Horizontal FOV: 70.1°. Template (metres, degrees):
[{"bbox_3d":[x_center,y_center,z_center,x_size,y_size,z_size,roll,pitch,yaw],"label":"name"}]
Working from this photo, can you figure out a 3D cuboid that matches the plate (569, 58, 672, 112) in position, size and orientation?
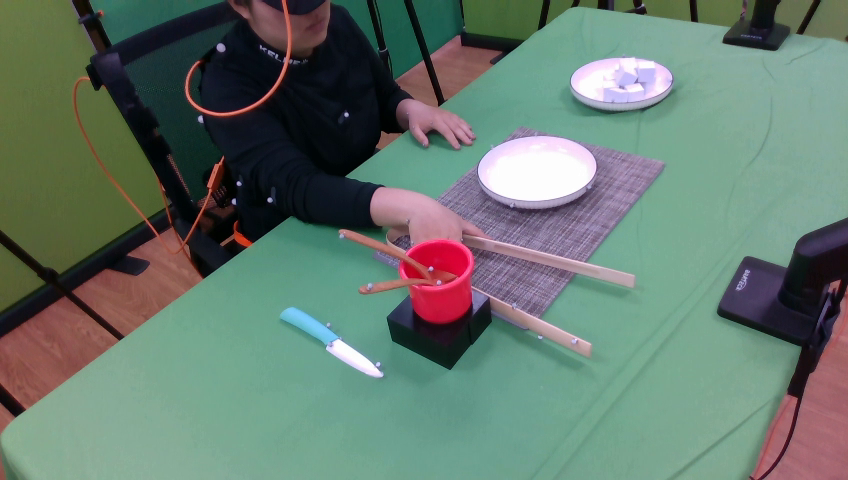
[{"bbox_3d":[0.411,-0.323,1.274,0.209,0.038,0.208,-5,41,5],"label":"plate"}]

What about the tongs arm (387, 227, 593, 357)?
[{"bbox_3d":[0.080,0.064,0.878,0.381,0.026,0.051,24,52,34],"label":"tongs arm"}]

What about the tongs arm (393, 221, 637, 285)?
[{"bbox_3d":[0.126,0.017,0.924,0.385,0.028,0.028,13,50,25],"label":"tongs arm"}]

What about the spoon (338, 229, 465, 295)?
[{"bbox_3d":[-0.025,0.026,0.776,0.021,0.195,0.041,-41,34,32],"label":"spoon"}]

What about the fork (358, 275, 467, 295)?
[{"bbox_3d":[-0.009,0.056,0.739,0.028,0.018,0.209,48,23,26],"label":"fork"}]

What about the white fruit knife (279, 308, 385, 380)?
[{"bbox_3d":[-0.130,0.143,0.845,0.205,0.016,0.027,25,79,32],"label":"white fruit knife"}]

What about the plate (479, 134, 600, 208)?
[{"bbox_3d":[0.202,-0.117,1.065,0.207,0.039,0.206,-5,40,5],"label":"plate"}]
